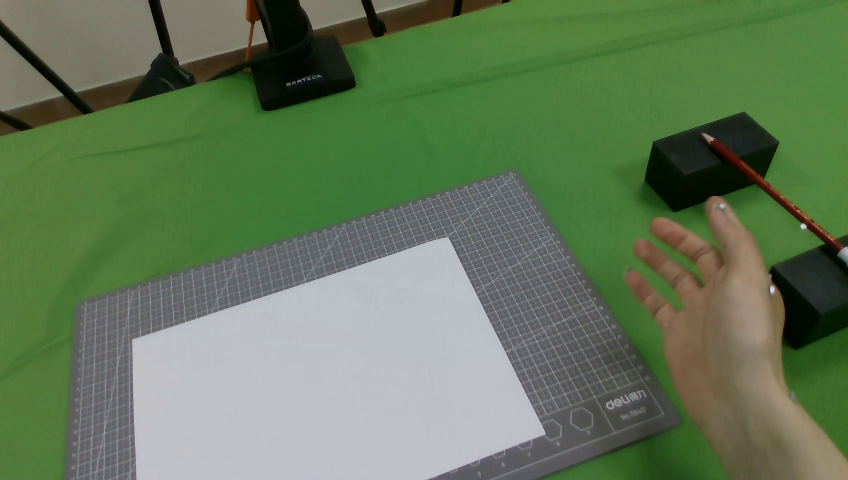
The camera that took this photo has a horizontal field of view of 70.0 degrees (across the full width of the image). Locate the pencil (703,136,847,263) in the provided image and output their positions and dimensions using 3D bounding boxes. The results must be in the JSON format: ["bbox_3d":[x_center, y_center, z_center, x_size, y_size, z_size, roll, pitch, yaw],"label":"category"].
[{"bbox_3d":[0.297,-0.033,0.504,0.012,0.012,0.192,-21,49,-10],"label":"pencil"}]
